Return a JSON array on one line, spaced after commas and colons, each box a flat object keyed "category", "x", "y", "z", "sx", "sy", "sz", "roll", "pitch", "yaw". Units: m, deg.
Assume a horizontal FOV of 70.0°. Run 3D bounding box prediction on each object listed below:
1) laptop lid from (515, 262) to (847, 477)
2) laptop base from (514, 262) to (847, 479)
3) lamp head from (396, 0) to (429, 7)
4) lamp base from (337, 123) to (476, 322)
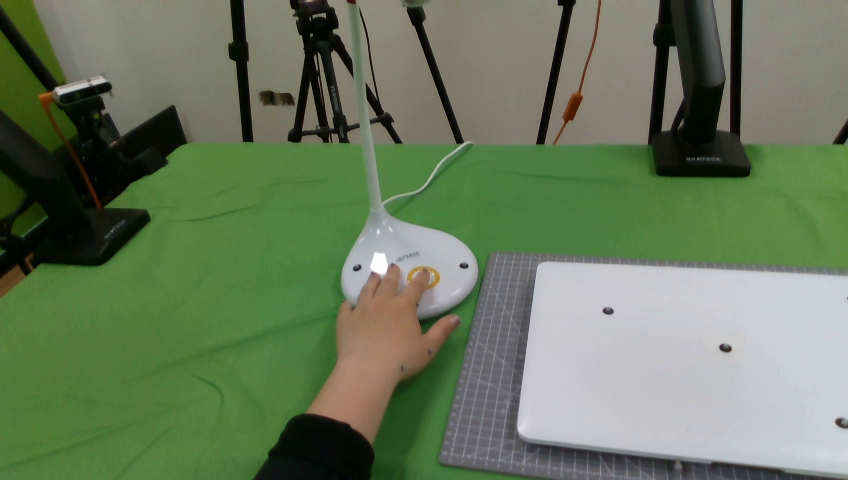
[{"category": "laptop lid", "x": 0.268, "y": 0.100, "z": 0.544, "sx": 0.355, "sy": 0.013, "sz": 0.240, "roll": 3, "pitch": 38, "yaw": 15}, {"category": "laptop base", "x": 0.270, "y": 0.108, "z": 0.553, "sx": 0.353, "sy": 0.023, "sz": 0.234, "roll": 2, "pitch": 39, "yaw": 13}, {"category": "lamp head", "x": -0.020, "y": -0.264, "z": 0.478, "sx": 0.122, "sy": 0.113, "sz": 0.112, "roll": 44, "pitch": 53, "yaw": 8}, {"category": "lamp base", "x": -0.036, "y": -0.029, "z": 0.665, "sx": 0.161, "sy": 0.182, "sz": 0.177, "roll": -28, "pitch": 37, "yaw": -27}]
